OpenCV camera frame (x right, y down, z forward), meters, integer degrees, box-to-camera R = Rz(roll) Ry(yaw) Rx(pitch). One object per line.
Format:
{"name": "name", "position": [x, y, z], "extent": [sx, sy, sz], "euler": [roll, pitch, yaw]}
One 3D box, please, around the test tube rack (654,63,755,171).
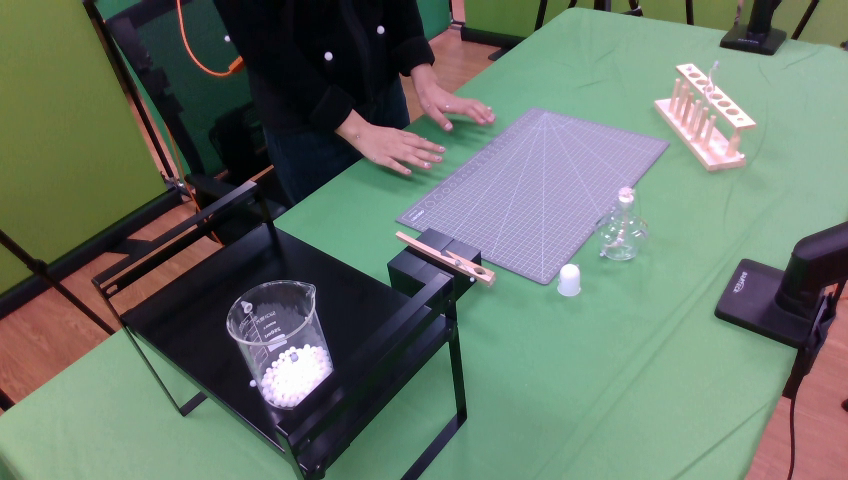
{"name": "test tube rack", "position": [0.510, -0.233, 1.120], "extent": [0.067, 0.085, 0.241], "euler": [-8, 41, -1]}

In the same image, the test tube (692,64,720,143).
{"name": "test tube", "position": [0.492, -0.236, 1.056], "extent": [0.017, 0.151, 0.017], "euler": [-3, 42, 3]}

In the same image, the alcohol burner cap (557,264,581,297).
{"name": "alcohol burner cap", "position": [0.208, 0.055, 0.866], "extent": [0.034, 0.048, 0.033], "euler": [-4, 42, 4]}

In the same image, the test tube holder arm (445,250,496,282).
{"name": "test tube holder arm", "position": [0.063, 0.036, 0.851], "extent": [0.087, 0.015, 0.010], "euler": [24, 58, 32]}

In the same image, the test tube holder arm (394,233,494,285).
{"name": "test tube holder arm", "position": [0.024, 0.025, 0.872], "extent": [0.177, 0.015, 0.013], "euler": [23, 57, 31]}

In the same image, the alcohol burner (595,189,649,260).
{"name": "alcohol burner", "position": [0.294, -0.028, 0.894], "extent": [0.078, 0.119, 0.077], "euler": [-4, 43, 4]}

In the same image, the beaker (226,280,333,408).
{"name": "beaker", "position": [-0.123, 0.096, 0.546], "extent": [0.073, 0.101, 0.084], "euler": [27, 51, 33]}
